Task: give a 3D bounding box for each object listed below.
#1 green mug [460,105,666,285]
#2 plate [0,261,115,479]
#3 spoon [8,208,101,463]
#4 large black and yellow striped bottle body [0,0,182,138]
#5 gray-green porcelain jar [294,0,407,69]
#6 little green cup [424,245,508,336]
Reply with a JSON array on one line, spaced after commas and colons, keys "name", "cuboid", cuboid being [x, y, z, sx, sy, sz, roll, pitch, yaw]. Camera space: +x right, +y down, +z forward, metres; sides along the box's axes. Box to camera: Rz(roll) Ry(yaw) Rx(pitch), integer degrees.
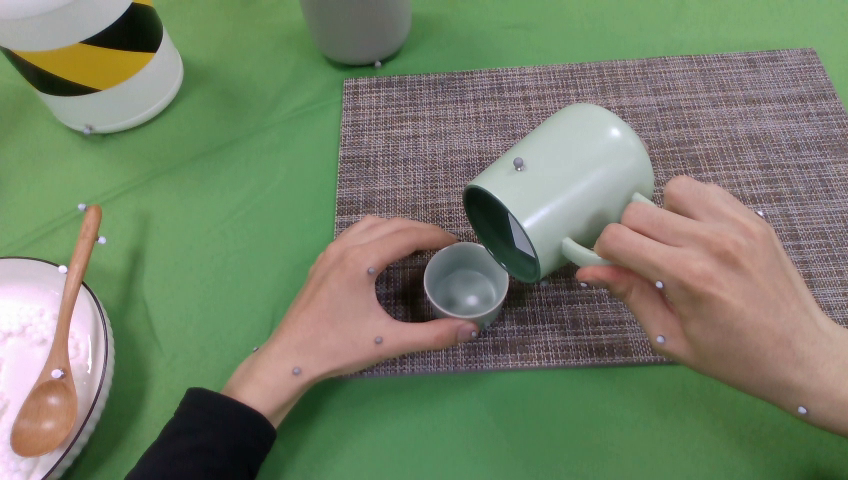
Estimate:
[{"name": "green mug", "cuboid": [0.099, -0.024, 0.401, 0.105, 0.093, 0.124, -36, 43, -16]}, {"name": "plate", "cuboid": [-0.320, 0.112, 0.430, 0.209, 0.038, 0.207, -2, 59, 3]}, {"name": "spoon", "cuboid": [-0.258, 0.060, 0.439, 0.041, 0.022, 0.192, -1, 67, 2]}, {"name": "large black and yellow striped bottle body", "cuboid": [-0.310, -0.194, 0.527, 0.131, 0.185, 0.129, -2, 59, 3]}, {"name": "gray-green porcelain jar", "cuboid": [-0.071, -0.236, 0.570, 0.106, 0.127, 0.105, -2, 59, 3]}, {"name": "little green cup", "cuboid": [0.029, 0.039, 0.444, 0.061, 0.039, 0.061, 1, 54, -1]}]
